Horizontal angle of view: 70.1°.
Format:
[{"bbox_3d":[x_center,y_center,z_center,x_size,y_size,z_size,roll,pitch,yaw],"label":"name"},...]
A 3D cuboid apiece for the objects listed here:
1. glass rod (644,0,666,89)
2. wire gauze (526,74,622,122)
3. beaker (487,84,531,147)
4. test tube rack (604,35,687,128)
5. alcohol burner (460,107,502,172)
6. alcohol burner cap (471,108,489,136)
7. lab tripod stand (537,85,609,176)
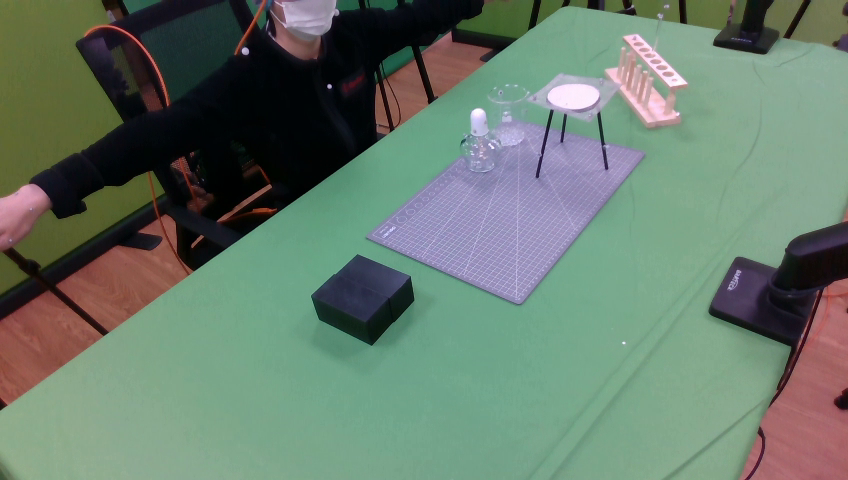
[{"bbox_3d":[0.465,-0.397,1.215,0.008,0.200,0.008,0,39,1],"label":"glass rod"},{"bbox_3d":[0.255,-0.248,1.030,0.124,0.011,0.122,24,51,32],"label":"wire gauze"},{"bbox_3d":[0.163,-0.237,1.161,0.084,0.101,0.073,-10,41,-3],"label":"beaker"},{"bbox_3d":[0.447,-0.330,1.241,0.067,0.085,0.241,-9,41,-2],"label":"test tube rack"},{"bbox_3d":[0.102,-0.185,1.098,0.078,0.119,0.077,-6,40,5],"label":"alcohol burner"},{"bbox_3d":[0.098,-0.211,1.074,0.034,0.048,0.033,-6,41,6],"label":"alcohol burner cap"},{"bbox_3d":[0.259,-0.192,1.068,0.148,0.132,0.147,-4,42,4],"label":"lab tripod stand"}]
